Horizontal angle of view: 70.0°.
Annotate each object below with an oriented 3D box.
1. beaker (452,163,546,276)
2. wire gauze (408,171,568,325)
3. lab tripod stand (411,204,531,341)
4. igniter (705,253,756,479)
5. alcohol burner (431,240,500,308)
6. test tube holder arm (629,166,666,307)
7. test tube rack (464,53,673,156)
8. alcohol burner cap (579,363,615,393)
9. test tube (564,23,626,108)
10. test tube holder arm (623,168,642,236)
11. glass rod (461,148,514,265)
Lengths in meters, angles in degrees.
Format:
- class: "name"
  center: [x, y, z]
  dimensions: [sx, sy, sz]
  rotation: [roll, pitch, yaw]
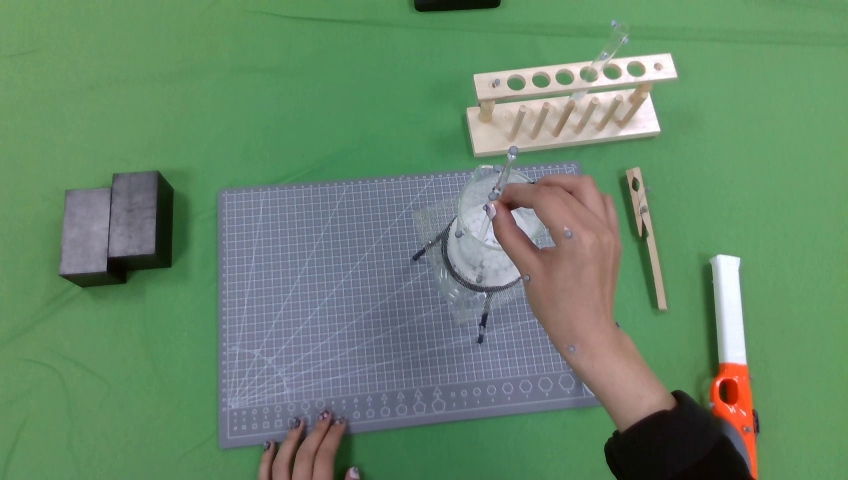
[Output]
- class: "beaker"
  center: [0.061, -0.014, 0.546]
  dimensions: [0.074, 0.101, 0.083]
  rotation: [-20, 73, -7]
- class: "wire gauze"
  center: [0.061, 0.003, 0.590]
  dimensions: [0.121, 0.011, 0.124]
  rotation: [-22, 75, -6]
- class: "lab tripod stand"
  center: [0.053, 0.027, 0.652]
  dimensions: [0.148, 0.132, 0.147]
  rotation: [0, 72, -1]
- class: "igniter"
  center: [0.344, 0.148, 0.687]
  dimensions: [0.057, 0.025, 0.275]
  rotation: [9, 71, -11]
- class: "alcohol burner"
  center: [0.047, 0.032, 0.660]
  dimensions: [0.078, 0.120, 0.077]
  rotation: [1, 70, -2]
- class: "test tube holder arm"
  center: [0.271, -0.006, 0.737]
  dimensions: [0.013, 0.015, 0.177]
  rotation: [-16, 71, 27]
- class: "test tube rack"
  center: [0.177, -0.166, 0.750]
  dimensions: [0.243, 0.085, 0.066]
  rotation: [-7, 72, -5]
- class: "alcohol burner cap"
  center: [0.193, 0.150, 0.667]
  dimensions: [0.034, 0.048, 0.033]
  rotation: [1, 71, -3]
- class: "test tube"
  center: [0.196, -0.199, 0.710]
  dimensions: [0.017, 0.151, 0.017]
  rotation: [3, 70, -8]
- class: "test tube holder arm"
  center: [0.261, -0.047, 0.752]
  dimensions: [0.010, 0.015, 0.087]
  rotation: [-15, 71, 28]
- class: "glass rod"
  center: [0.047, -0.019, 0.486]
  dimensions: [0.008, 0.201, 0.008]
  rotation: [2, 66, -5]
